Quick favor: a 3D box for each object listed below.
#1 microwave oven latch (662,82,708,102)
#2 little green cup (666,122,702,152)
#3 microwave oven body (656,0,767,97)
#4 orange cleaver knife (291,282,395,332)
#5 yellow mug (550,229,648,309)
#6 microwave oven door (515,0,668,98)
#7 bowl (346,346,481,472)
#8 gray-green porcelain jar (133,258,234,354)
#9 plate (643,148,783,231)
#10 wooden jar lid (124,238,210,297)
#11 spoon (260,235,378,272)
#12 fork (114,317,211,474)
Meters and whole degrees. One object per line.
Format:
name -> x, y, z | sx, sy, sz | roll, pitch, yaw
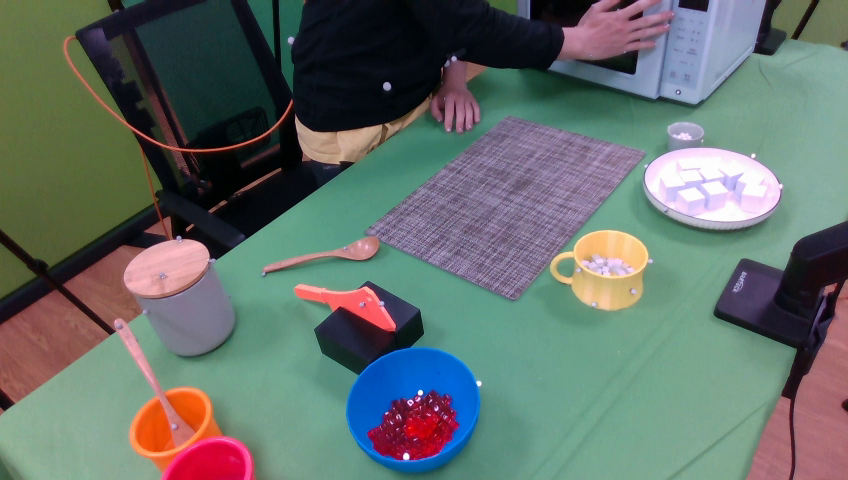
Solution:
microwave oven latch -> 0.518, -0.298, 1.202 | 0.078, 0.029, 0.030 | 28, 53, 35
little green cup -> 0.472, -0.184, 1.102 | 0.061, 0.039, 0.061 | -5, 41, 5
microwave oven body -> 0.473, -0.516, 1.313 | 0.438, 0.261, 0.327 | 26, 51, 34
orange cleaver knife -> -0.116, 0.091, 0.835 | 0.209, 0.077, 0.012 | 1, 32, 47
yellow mug -> 0.245, 0.039, 0.857 | 0.130, 0.064, 0.099 | 1, 42, 11
microwave oven door -> 0.338, -0.454, 1.252 | 0.353, 0.245, 0.039 | 29, 53, 35
bowl -> -0.008, 0.205, 0.691 | 0.151, 0.077, 0.150 | -4, 40, 4
gray-green porcelain jar -> -0.328, 0.087, 0.837 | 0.106, 0.127, 0.105 | -4, 41, 4
plate -> 0.464, -0.080, 0.986 | 0.207, 0.039, 0.206 | -4, 40, 4
wooden jar lid -> -0.335, 0.039, 0.794 | 0.108, 0.021, 0.108 | -2, 40, 2
spoon -> -0.168, 0.024, 0.966 | 0.194, 0.022, 0.041 | -10, 57, -3
fork -> -0.309, 0.180, 0.708 | 0.028, 0.018, 0.207 | -29, 89, -25
